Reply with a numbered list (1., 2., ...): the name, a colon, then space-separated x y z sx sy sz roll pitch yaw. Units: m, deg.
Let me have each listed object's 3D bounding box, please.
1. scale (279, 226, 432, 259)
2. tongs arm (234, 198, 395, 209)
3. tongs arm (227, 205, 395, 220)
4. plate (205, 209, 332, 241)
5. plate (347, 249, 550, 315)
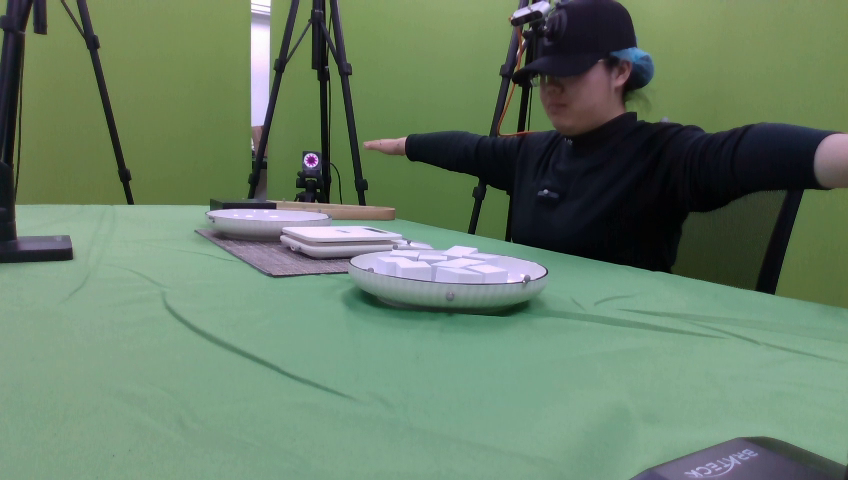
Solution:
1. scale: -0.100 0.001 0.899 0.202 0.031 0.148 -1 8 -31
2. tongs arm: -0.263 -0.076 1.460 0.386 0.026 0.050 3 7 -8
3. tongs arm: -0.247 -0.063 1.381 0.389 0.028 0.028 0 5 -21
4. plate: -0.262 -0.026 1.030 0.208 0.039 0.207 3 7 0
5. plate: 0.025 0.042 0.627 0.209 0.038 0.209 2 7 0
